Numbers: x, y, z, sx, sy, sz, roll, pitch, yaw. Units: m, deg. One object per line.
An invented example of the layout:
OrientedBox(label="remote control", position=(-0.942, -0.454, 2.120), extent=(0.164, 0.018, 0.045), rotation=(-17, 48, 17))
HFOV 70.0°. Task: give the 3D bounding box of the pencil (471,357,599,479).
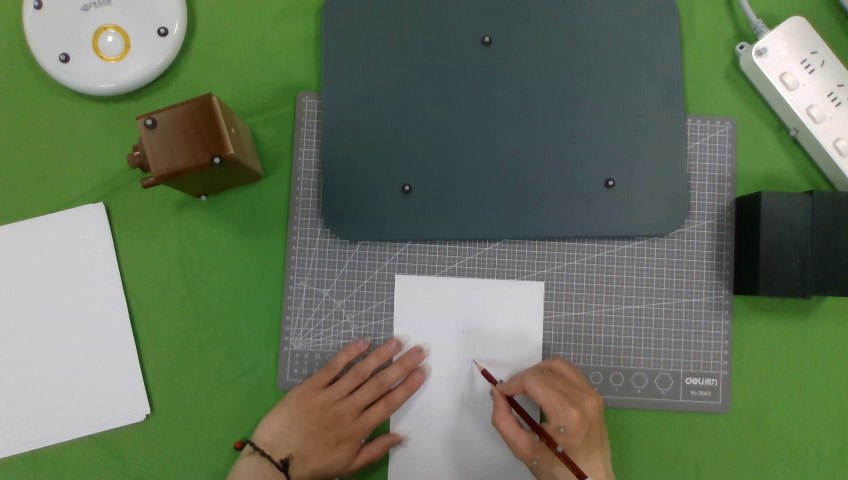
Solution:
OrientedBox(label="pencil", position=(0.094, 0.156, 0.526), extent=(0.012, 0.192, 0.012), rotation=(-15, 122, -25))

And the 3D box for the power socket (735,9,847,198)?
OrientedBox(label="power socket", position=(0.409, -0.132, 0.611), extent=(0.072, 0.032, 0.226), rotation=(-37, 88, -3))

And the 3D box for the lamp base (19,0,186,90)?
OrientedBox(label="lamp base", position=(-0.324, -0.244, 0.527), extent=(0.160, 0.180, 0.179), rotation=(-28, 85, -3))

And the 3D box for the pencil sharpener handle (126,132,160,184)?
OrientedBox(label="pencil sharpener handle", position=(-0.252, -0.069, 0.543), extent=(0.030, 0.068, 0.036), rotation=(-18, 74, -2))

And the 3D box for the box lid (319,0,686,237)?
OrientedBox(label="box lid", position=(0.081, -0.136, 0.614), extent=(0.372, 0.015, 0.262), rotation=(-1, 87, -1))

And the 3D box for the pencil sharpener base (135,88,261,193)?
OrientedBox(label="pencil sharpener base", position=(-0.205, -0.087, 0.558), extent=(0.077, 0.107, 0.061), rotation=(-18, 87, -2))
